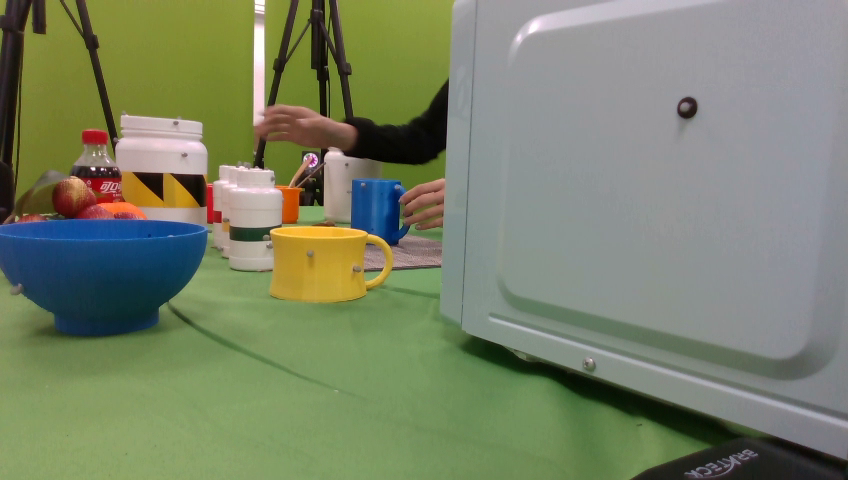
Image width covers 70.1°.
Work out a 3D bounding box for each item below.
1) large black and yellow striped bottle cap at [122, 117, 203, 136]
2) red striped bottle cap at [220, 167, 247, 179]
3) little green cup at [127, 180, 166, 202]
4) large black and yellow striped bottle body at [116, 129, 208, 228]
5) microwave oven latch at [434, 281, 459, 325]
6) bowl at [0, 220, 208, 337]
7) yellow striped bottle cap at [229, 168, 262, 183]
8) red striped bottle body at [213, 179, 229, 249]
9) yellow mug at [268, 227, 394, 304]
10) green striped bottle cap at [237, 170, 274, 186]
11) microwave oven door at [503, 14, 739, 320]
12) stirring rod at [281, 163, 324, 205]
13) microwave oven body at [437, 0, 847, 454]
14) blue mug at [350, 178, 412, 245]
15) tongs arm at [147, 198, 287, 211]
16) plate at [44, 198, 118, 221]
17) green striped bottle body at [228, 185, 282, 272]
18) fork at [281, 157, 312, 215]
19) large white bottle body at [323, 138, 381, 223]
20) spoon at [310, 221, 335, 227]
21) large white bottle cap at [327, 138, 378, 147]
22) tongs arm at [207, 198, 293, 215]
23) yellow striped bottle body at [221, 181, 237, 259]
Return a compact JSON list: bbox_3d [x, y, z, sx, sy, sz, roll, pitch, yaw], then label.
[{"bbox_3d":[-0.399,-0.174,0.927,0.115,0.019,0.115,5,9,-1],"label":"large black and yellow striped bottle cap"},{"bbox_3d":[-0.281,-0.100,0.901,0.044,0.017,0.044,-1,5,0],"label":"red striped bottle cap"},{"bbox_3d":[-0.486,-0.086,1.061,0.061,0.038,0.061,1,7,0],"label":"little green cup"},{"bbox_3d":[-0.404,-0.089,0.937,0.131,0.184,0.130,3,7,0],"label":"large black and yellow striped bottle body"},{"bbox_3d":[0.044,0.045,0.470,0.079,0.029,0.030,-2,8,-39],"label":"microwave oven latch"},{"bbox_3d":[-0.251,0.029,0.479,0.151,0.077,0.151,2,7,0],"label":"bowl"},{"bbox_3d":[-0.240,-0.087,0.816,0.044,0.018,0.044,-2,5,1],"label":"yellow striped bottle cap"},{"bbox_3d":[-0.284,-0.048,0.908,0.063,0.119,0.063,3,8,0],"label":"red striped bottle body"},{"bbox_3d":[-0.094,0.023,0.630,0.131,0.064,0.099,0,8,-22],"label":"yellow mug"},{"bbox_3d":[-0.205,-0.075,0.737,0.044,0.020,0.044,1,6,0],"label":"green striped bottle cap"},{"bbox_3d":[0.218,-0.065,0.600,0.358,0.243,0.039,-4,10,-41],"label":"microwave oven door"},{"bbox_3d":[-0.278,-0.104,1.294,0.176,0.006,0.014,-47,25,-18],"label":"stirring rod"},{"bbox_3d":[0.279,-0.040,0.464,0.444,0.260,0.324,-3,9,-41],"label":"microwave oven body"},{"bbox_3d":[-0.068,-0.047,1.000,0.116,0.106,0.083,8,10,32],"label":"blue mug"},{"bbox_3d":[-0.504,-0.091,1.513,0.028,0.028,0.389,-1,4,37],"label":"tongs arm"},{"bbox_3d":[-0.617,-0.056,1.179,0.209,0.038,0.209,3,7,0],"label":"plate"},{"bbox_3d":[-0.208,-0.023,0.745,0.063,0.119,0.063,2,7,0],"label":"green striped bottle body"},{"bbox_3d":[-0.289,-0.116,1.321,0.028,0.019,0.207,6,51,19],"label":"fork"},{"bbox_3d":[-0.163,-0.135,1.368,0.131,0.184,0.130,2,7,0],"label":"large white bottle body"},{"bbox_3d":[-0.185,-0.027,1.131,0.041,0.021,0.193,-18,6,2],"label":"spoon"},{"bbox_3d":[-0.160,-0.218,1.357,0.115,0.018,0.115,2,8,0],"label":"large white bottle cap"},{"bbox_3d":[-0.423,-0.084,1.472,0.050,0.026,0.386,2,6,21],"label":"tongs arm"},{"bbox_3d":[-0.244,-0.035,0.823,0.063,0.120,0.063,2,8,0],"label":"yellow striped bottle body"}]
